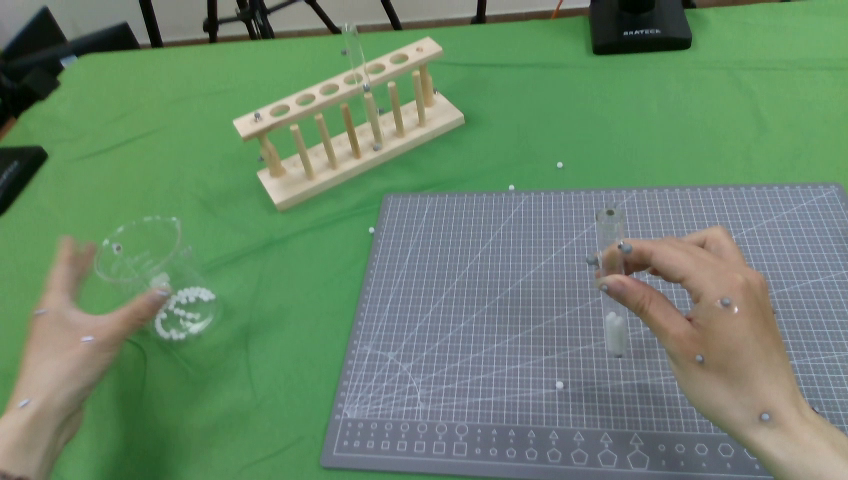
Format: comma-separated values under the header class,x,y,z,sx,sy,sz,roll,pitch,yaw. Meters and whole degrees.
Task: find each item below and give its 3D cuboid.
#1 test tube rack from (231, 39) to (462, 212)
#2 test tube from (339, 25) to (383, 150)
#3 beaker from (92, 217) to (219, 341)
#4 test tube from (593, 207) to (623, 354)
class,x,y,z,sx,sy,sz,roll,pitch,yaw
test tube rack,-0.081,-0.132,0.684,0.242,0.086,0.066,-28,49,-14
test tube,-0.065,-0.158,0.644,0.017,0.152,0.017,-6,47,7
beaker,-0.237,0.037,0.553,0.073,0.101,0.083,22,55,27
test tube,0.124,0.034,0.406,0.017,0.152,0.017,-9,47,11
